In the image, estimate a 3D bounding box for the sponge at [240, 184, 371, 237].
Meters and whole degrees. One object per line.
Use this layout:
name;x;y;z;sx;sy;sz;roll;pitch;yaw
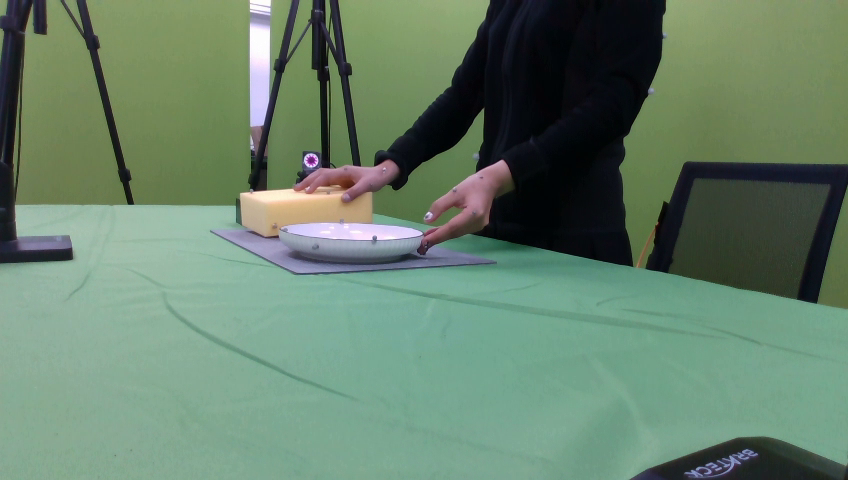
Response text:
sponge;-0.212;-0.057;1.095;0.208;0.061;0.117;-10;16;-35

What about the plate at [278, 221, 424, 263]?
plate;-0.103;0.002;0.871;0.209;0.038;0.209;2;7;0
